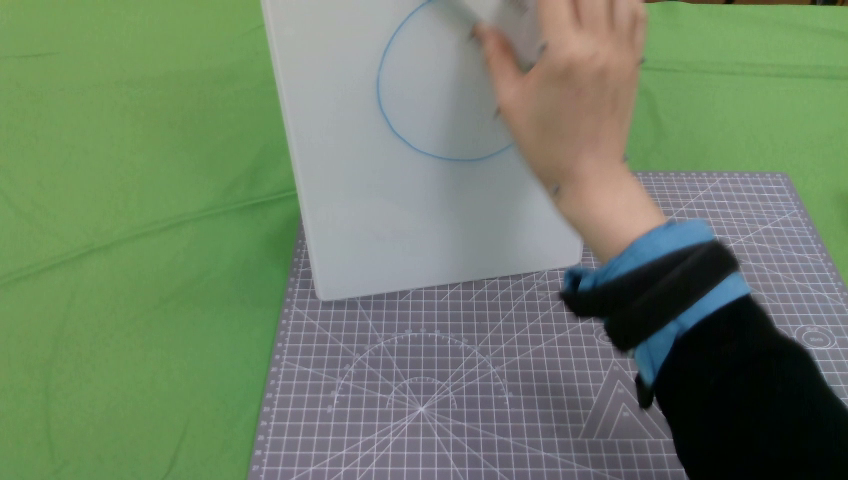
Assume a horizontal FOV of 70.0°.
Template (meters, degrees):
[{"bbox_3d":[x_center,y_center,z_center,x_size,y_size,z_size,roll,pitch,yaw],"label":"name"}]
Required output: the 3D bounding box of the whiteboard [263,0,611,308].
[{"bbox_3d":[0.006,-0.127,0.459,0.217,0.308,0.142,-7,32,-6],"label":"whiteboard"}]

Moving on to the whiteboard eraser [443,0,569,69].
[{"bbox_3d":[0.047,-0.144,0.369,0.102,0.041,0.018,32,21,-25],"label":"whiteboard eraser"}]
